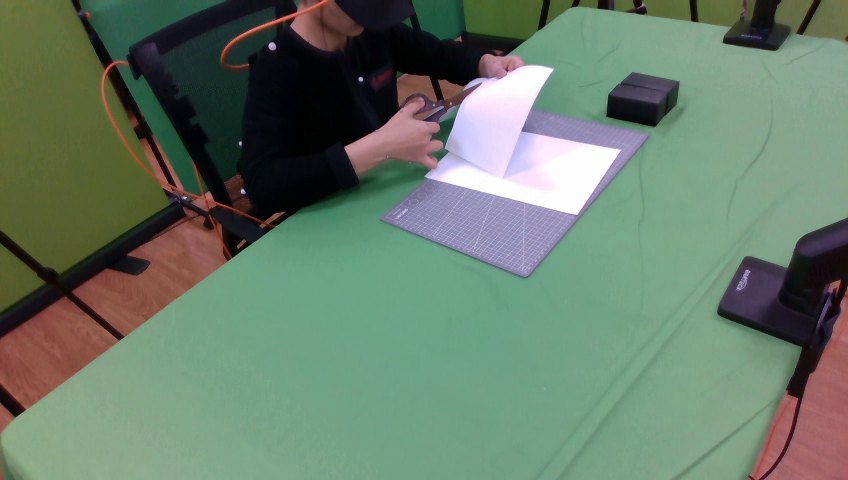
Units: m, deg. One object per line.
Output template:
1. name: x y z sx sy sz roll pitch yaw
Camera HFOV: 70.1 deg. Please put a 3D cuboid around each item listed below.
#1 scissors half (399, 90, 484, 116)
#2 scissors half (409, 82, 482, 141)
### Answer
1. scissors half: 0.035 -0.265 1.136 0.176 0.040 0.012 -13 26 -18
2. scissors half: 0.043 -0.246 1.146 0.175 0.040 0.012 -41 27 -4
